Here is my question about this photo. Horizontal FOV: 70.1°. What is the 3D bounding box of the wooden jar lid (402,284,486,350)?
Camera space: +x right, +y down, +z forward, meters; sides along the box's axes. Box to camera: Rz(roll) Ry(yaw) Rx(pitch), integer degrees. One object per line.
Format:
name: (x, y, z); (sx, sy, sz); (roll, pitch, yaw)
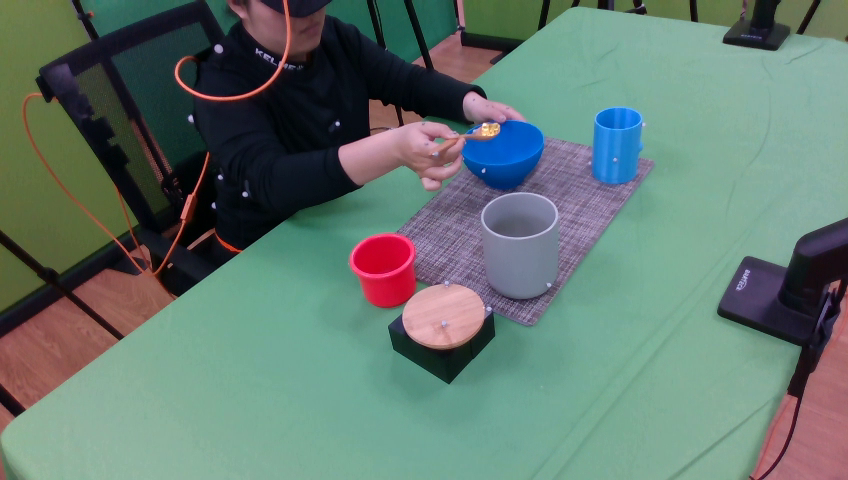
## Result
wooden jar lid: (0.027, 0.101, 0.786); (0.108, 0.021, 0.108); (-5, 39, 4)

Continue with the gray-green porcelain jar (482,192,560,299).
gray-green porcelain jar: (0.139, 0.012, 0.858); (0.106, 0.127, 0.105); (-6, 40, 5)

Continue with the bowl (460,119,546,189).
bowl: (0.142, -0.145, 1.081); (0.151, 0.077, 0.150); (-6, 40, 5)

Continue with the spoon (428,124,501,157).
spoon: (0.059, -0.150, 0.897); (0.041, 0.021, 0.195); (16, 25, 30)

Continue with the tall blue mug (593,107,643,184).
tall blue mug: (0.330, -0.172, 1.052); (0.078, 0.108, 0.106); (-12, 40, 0)
